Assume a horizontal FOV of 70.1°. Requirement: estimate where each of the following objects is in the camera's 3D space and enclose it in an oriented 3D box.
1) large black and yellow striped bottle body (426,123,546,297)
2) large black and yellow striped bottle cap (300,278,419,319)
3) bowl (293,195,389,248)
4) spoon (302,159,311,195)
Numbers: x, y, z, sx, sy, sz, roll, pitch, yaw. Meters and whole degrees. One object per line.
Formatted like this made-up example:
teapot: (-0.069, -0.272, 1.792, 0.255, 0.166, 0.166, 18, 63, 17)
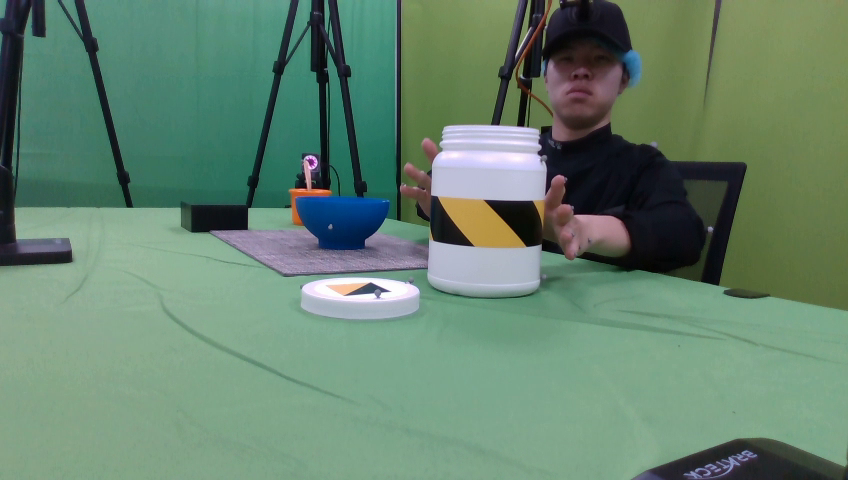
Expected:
large black and yellow striped bottle body: (0.071, -0.037, 0.689, 0.131, 0.184, 0.130, 2, 7, 0)
large black and yellow striped bottle cap: (-0.062, 0.055, 0.588, 0.115, 0.019, 0.115, 1, 6, 0)
bowl: (-0.132, -0.030, 0.962, 0.151, 0.077, 0.151, 2, 7, 0)
spoon: (-0.257, -0.113, 1.341, 0.042, 0.193, 0.021, 3, -38, -18)
